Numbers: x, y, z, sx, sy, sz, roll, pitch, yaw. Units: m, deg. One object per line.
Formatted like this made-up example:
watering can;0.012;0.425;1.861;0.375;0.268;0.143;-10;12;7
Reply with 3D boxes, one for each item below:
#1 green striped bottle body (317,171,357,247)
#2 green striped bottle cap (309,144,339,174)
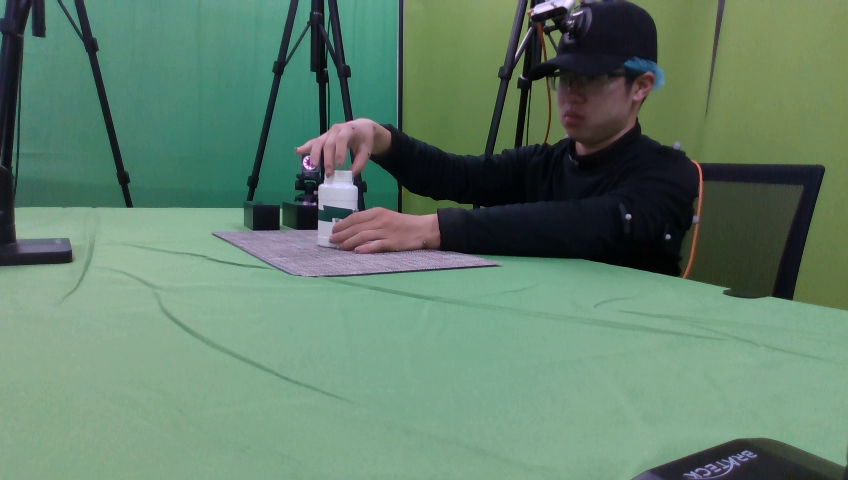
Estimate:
green striped bottle body;-0.139;-0.051;0.964;0.063;0.119;0.063;2;7;0
green striped bottle cap;-0.151;-0.123;0.916;0.044;0.044;0.020;1;-14;-11
